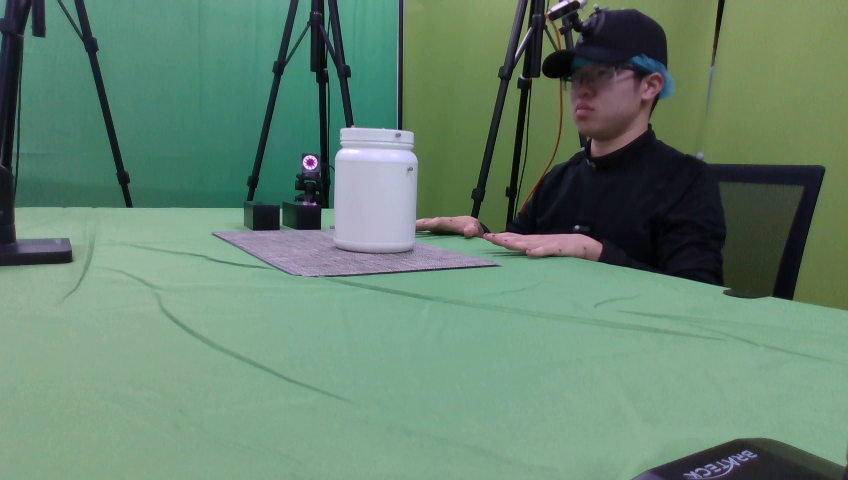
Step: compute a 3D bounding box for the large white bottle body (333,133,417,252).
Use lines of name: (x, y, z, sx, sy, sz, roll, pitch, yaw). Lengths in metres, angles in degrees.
large white bottle body: (-0.076, -0.080, 0.950, 0.131, 0.184, 0.130, 2, 7, 0)

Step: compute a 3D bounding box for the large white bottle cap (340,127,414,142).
large white bottle cap: (-0.072, -0.163, 0.940, 0.115, 0.018, 0.115, 2, 7, 0)
